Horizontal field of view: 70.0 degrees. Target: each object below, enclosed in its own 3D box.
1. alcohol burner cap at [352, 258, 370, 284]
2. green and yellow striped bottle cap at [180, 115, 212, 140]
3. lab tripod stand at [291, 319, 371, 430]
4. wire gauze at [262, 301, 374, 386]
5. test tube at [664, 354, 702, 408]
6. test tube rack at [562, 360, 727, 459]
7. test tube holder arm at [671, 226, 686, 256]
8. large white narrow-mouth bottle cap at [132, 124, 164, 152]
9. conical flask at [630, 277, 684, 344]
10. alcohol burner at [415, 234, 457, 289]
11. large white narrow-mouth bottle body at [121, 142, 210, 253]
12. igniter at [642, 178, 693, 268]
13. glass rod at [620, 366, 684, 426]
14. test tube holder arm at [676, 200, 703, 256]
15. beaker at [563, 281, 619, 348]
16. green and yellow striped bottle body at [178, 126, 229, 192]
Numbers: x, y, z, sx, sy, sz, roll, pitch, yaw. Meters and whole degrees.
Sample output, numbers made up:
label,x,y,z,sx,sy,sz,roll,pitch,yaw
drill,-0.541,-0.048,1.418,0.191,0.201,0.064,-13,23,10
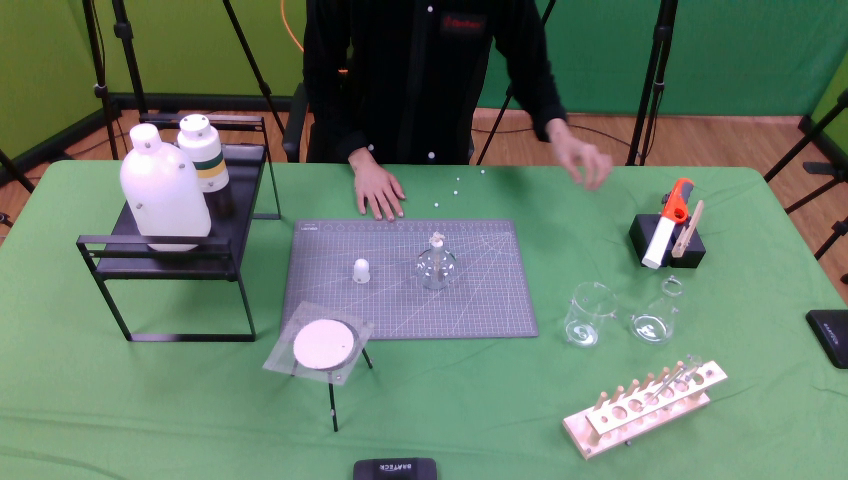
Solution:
label,x,y,z,sx,sy,sz,roll,pitch,yaw
alcohol burner cap,-0.117,0.055,1.118,0.034,0.048,0.033,1,46,-1
green and yellow striped bottle cap,-0.358,-0.177,0.951,0.045,0.020,0.045,1,45,-1
lab tripod stand,-0.146,0.193,0.923,0.148,0.132,0.147,1,47,-1
wire gauze,-0.150,0.148,0.873,0.121,0.011,0.124,14,46,12
test tube,0.385,0.215,0.906,0.017,0.151,0.017,-1,49,1
test tube rack,0.341,0.247,0.940,0.243,0.085,0.066,-16,49,-18
test tube holder arm,0.494,0.001,1.166,0.010,0.015,0.087,1,36,42
large white narrow-mouth bottle cap,-0.371,-0.138,0.812,0.038,0.024,0.037,3,46,-3
conical flask,0.408,0.117,1.045,0.075,0.122,0.075,2,46,-2
alcohol burner,0.022,0.033,1.100,0.078,0.120,0.077,1,47,-1
large white narrow-mouth bottle body,-0.378,-0.077,0.875,0.102,0.195,0.101,3,46,-3
igniter,0.488,-0.042,1.205,0.057,0.025,0.276,30,52,11
glass rod,0.322,0.227,0.866,0.008,0.200,0.008,5,51,-7
test tube holder arm,0.523,-0.025,1.190,0.013,0.015,0.178,1,36,41
beaker,0.283,0.129,1.041,0.074,0.101,0.083,11,46,7
green and yellow striped bottle body,-0.361,-0.142,0.989,0.063,0.120,0.063,2,46,-2
